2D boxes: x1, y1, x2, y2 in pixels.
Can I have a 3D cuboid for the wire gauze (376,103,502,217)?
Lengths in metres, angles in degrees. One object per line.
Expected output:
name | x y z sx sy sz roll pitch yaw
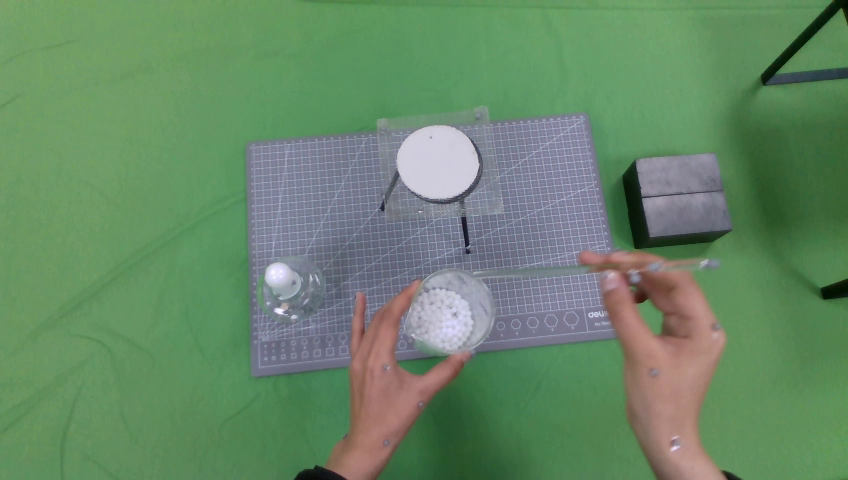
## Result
wire gauze | 0.014 -0.084 0.637 0.125 0.011 0.121 -5 75 -3

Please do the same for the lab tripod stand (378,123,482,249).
lab tripod stand | 0.016 -0.070 0.702 0.148 0.132 0.147 0 73 0

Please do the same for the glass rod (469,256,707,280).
glass rod | 0.101 0.022 0.431 0.008 0.199 0.008 6 81 -40

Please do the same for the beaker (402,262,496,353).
beaker | 0.016 0.069 0.565 0.084 0.100 0.073 -22 80 -11

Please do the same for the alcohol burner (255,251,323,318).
alcohol burner | -0.153 0.046 0.676 0.078 0.119 0.077 1 76 -2

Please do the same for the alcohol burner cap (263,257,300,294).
alcohol burner cap | -0.153 0.036 0.641 0.034 0.048 0.033 -1 69 3
